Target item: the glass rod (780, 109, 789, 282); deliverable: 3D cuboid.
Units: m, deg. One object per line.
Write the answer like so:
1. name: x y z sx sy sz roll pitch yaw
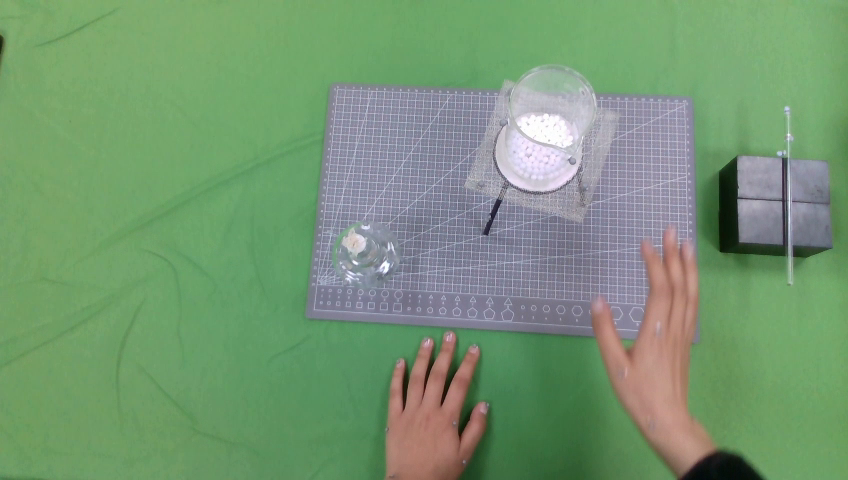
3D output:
1. glass rod: 0.395 -0.051 0.664 0.008 0.008 0.199 7 79 4

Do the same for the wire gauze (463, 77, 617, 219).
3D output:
1. wire gauze: 0.116 -0.092 0.599 0.121 0.011 0.124 20 77 6

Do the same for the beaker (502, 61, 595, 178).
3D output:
1. beaker: 0.110 -0.101 0.552 0.074 0.101 0.083 -24 77 -2

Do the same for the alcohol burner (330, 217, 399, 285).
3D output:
1. alcohol burner: -0.068 0.009 0.663 0.078 0.119 0.077 0 79 3

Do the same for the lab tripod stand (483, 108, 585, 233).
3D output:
1. lab tripod stand: 0.114 -0.079 0.664 0.148 0.132 0.147 -1 77 5
